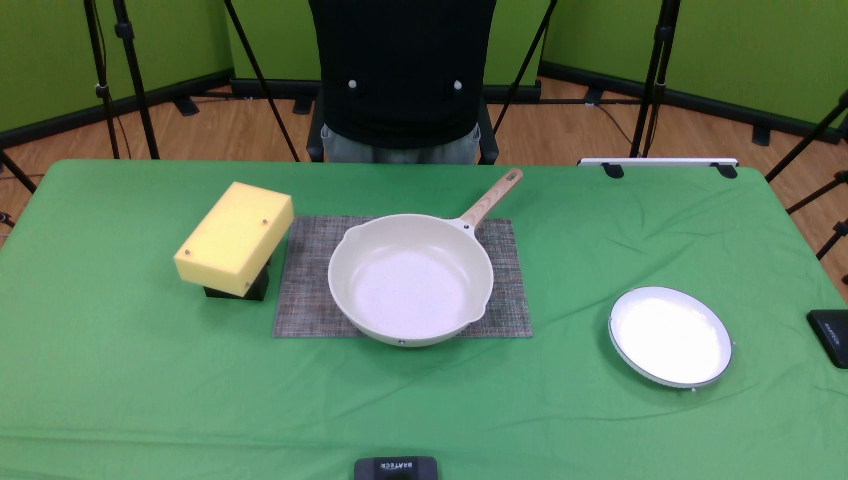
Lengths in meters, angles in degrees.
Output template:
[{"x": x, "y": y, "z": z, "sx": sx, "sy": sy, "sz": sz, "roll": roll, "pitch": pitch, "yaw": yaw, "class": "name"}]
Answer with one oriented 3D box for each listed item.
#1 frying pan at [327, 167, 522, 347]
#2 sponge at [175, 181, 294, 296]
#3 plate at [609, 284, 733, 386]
[{"x": 0.042, "y": 0.009, "z": 1.132, "sx": 0.305, "sy": 0.103, "sz": 0.487, "roll": 34, "pitch": 61, "yaw": 24, "class": "frying pan"}, {"x": -0.333, "y": -0.007, "z": 1.086, "sx": 0.118, "sy": 0.061, "sz": 0.206, "roll": 13, "pitch": 47, "yaw": 9, "class": "sponge"}, {"x": 0.425, "y": 0.167, "z": 1.059, "sx": 0.208, "sy": 0.039, "sz": 0.206, "roll": 2, "pitch": 46, "yaw": -2, "class": "plate"}]
